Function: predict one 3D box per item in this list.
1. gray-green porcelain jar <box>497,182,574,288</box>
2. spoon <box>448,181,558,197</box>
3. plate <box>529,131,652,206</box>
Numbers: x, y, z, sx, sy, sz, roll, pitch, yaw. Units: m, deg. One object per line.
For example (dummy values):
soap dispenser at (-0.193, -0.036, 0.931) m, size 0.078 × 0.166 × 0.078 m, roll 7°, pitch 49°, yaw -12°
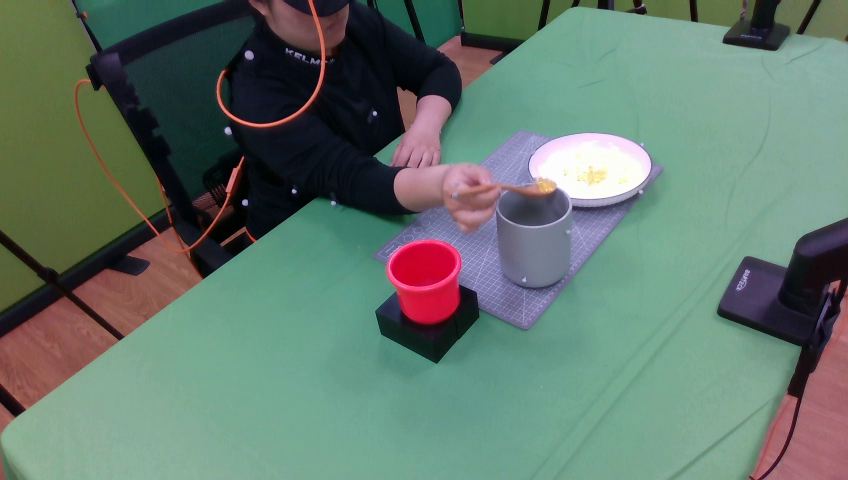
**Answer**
gray-green porcelain jar at (0.160, -0.003, 0.870) m, size 0.106 × 0.127 × 0.105 m, roll -5°, pitch 40°, yaw 5°
spoon at (0.105, -0.068, 0.792) m, size 0.195 × 0.021 × 0.041 m, roll -3°, pitch 18°, yaw -38°
plate at (0.287, -0.121, 1.056) m, size 0.207 × 0.039 × 0.206 m, roll -5°, pitch 40°, yaw 5°
